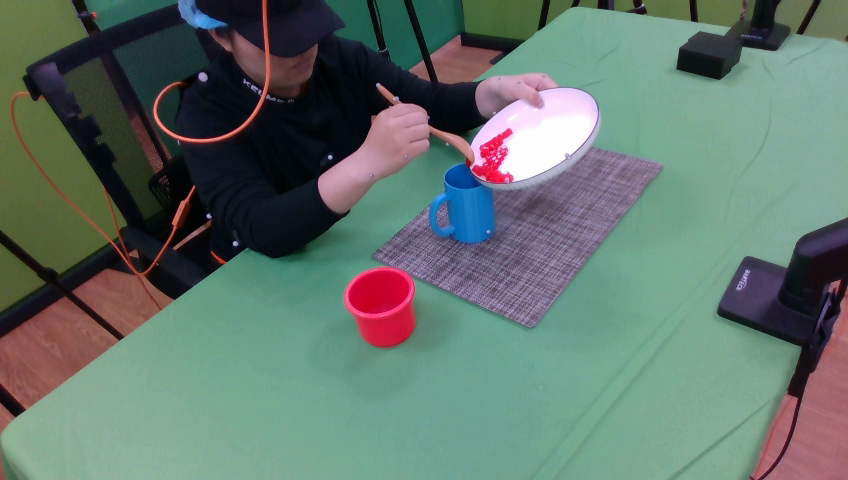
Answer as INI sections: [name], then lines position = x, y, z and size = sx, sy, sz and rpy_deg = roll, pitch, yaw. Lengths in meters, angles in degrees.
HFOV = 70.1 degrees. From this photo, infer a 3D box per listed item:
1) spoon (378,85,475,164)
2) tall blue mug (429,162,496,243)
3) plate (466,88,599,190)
[spoon]
position = 0.008, -0.168, 0.885
size = 0.021, 0.195, 0.041
rpy_deg = -45, 33, 28
[tall blue mug]
position = 0.067, -0.051, 0.960
size = 0.077, 0.108, 0.107
rpy_deg = 18, 47, 27
[plate]
position = 0.164, -0.147, 0.910
size = 0.207, 0.039, 0.206
rpy_deg = -21, 39, 19
